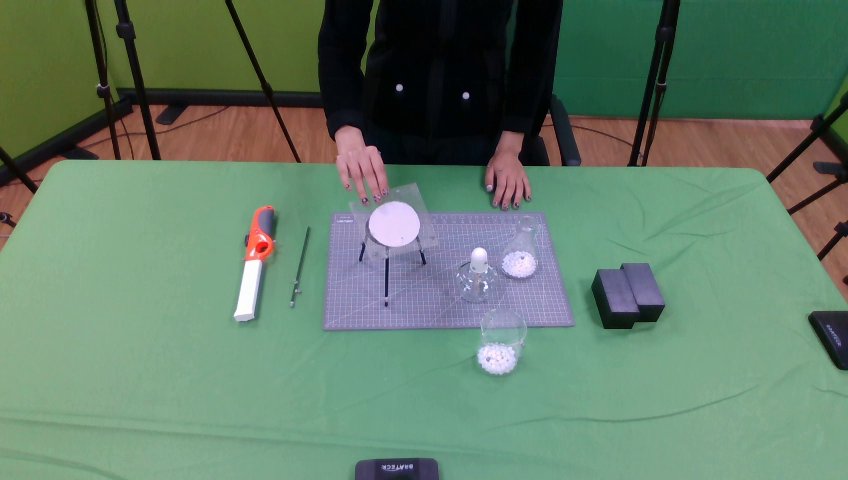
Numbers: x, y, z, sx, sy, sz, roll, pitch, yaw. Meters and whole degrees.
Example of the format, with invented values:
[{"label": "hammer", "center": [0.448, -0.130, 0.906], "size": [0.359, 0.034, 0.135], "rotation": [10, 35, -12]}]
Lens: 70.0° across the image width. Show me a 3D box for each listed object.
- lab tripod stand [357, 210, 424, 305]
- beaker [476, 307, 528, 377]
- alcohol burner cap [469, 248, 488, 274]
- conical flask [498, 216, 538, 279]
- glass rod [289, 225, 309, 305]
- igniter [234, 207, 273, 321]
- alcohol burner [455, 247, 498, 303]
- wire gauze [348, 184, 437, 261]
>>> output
[{"label": "lab tripod stand", "center": [-0.061, 0.020, 1.094], "size": [0.148, 0.132, 0.147], "rotation": [3, 44, -2]}, {"label": "beaker", "center": [0.122, 0.171, 0.991], "size": [0.084, 0.101, 0.073], "rotation": [-34, 56, -31]}, {"label": "alcohol burner cap", "center": [0.095, 0.034, 1.057], "size": [0.034, 0.048, 0.033], "rotation": [-3, 52, 3]}, {"label": "conical flask", "center": [0.183, 0.010, 1.132], "size": [0.075, 0.122, 0.075], "rotation": [2, 46, -2]}, {"label": "glass rod", "center": [-0.236, 0.042, 1.149], "size": [0.008, 0.008, 0.198], "rotation": [3, 46, -1]}, {"label": "igniter", "center": [-0.318, 0.035, 1.137], "size": [0.057, 0.025, 0.274], "rotation": [-7, 46, 3]}, {"label": "alcohol burner", "center": [0.095, 0.057, 1.085], "size": [0.078, 0.120, 0.077], "rotation": [1, 47, -1]}, {"label": "wire gauze", "center": [-0.054, -0.031, 1.032], "size": [0.125, 0.011, 0.121], "rotation": [-15, 69, -12]}]
